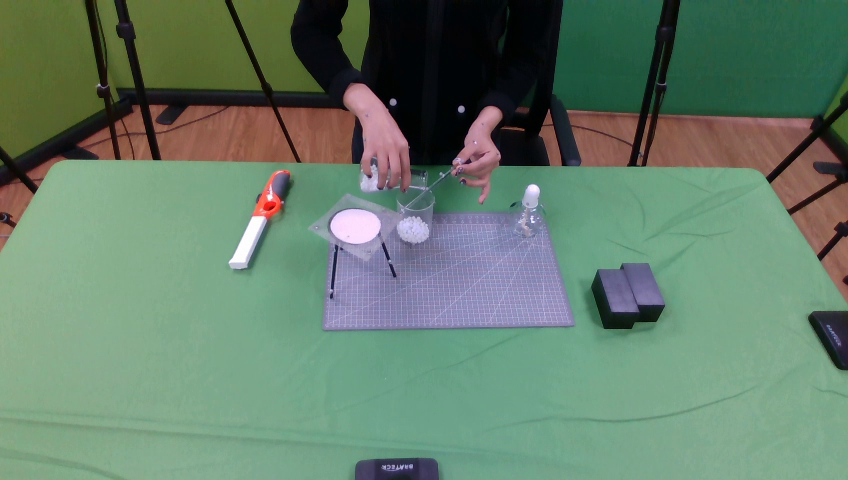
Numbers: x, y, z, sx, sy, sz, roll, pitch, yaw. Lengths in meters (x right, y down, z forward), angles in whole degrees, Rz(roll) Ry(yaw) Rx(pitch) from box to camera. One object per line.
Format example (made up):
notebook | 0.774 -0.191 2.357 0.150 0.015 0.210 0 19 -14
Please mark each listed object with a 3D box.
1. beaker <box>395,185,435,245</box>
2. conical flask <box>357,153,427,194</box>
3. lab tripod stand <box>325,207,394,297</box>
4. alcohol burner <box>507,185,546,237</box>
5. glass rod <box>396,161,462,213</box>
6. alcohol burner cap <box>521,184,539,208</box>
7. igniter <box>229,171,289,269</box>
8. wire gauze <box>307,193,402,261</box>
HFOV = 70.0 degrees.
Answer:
beaker | -0.022 -0.048 1.187 0.074 0.101 0.083 -28 53 -28
conical flask | -0.058 -0.117 1.112 0.122 0.076 0.075 7 46 6
lab tripod stand | -0.124 0.017 1.092 0.148 0.132 0.147 3 44 -3
alcohol burner | 0.208 -0.063 1.210 0.078 0.119 0.077 3 44 -3
glass rod | 0.006 -0.096 1.120 0.008 0.200 0.008 20 55 -31
alcohol burner cap | 0.210 -0.087 1.183 0.034 0.048 0.033 1 52 -1
igniter | -0.328 -0.049 1.218 0.057 0.025 0.275 0 45 10
wire gauze | -0.118 -0.028 1.043 0.125 0.011 0.121 24 47 17
